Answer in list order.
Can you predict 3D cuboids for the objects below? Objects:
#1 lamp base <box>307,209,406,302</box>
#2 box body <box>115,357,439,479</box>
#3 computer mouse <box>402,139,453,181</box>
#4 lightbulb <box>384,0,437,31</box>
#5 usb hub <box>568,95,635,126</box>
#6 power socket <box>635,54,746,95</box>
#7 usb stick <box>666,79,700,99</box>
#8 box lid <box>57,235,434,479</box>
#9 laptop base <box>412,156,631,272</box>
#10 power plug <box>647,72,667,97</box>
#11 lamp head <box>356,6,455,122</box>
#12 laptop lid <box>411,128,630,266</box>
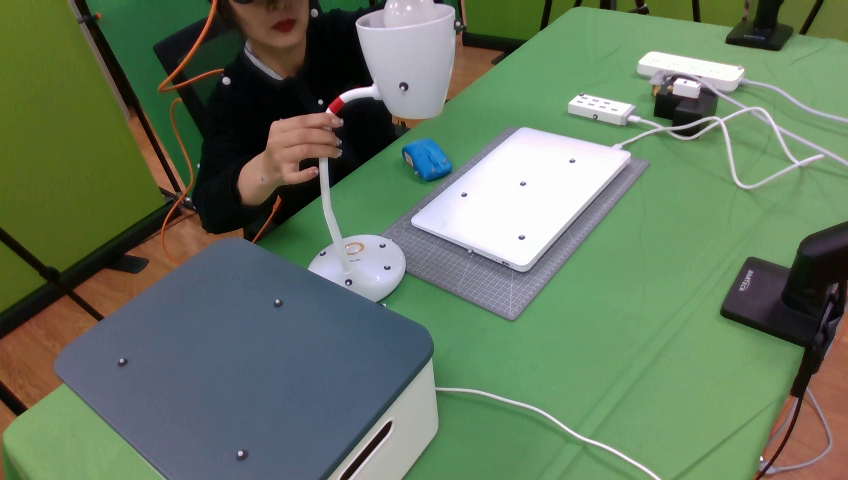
[{"bbox_3d":[-0.116,-0.003,0.889,0.161,0.181,0.178,-15,43,-5],"label":"lamp base"},{"bbox_3d":[-0.189,0.178,0.702,0.361,0.161,0.255,22,49,32],"label":"box body"},{"bbox_3d":[0.005,-0.159,1.166,0.063,0.041,0.116,-21,45,-17],"label":"computer mouse"},{"bbox_3d":[-0.014,-0.228,0.691,0.059,0.108,0.059,-3,25,2],"label":"lightbulb"},{"bbox_3d":[0.360,-0.264,1.228,0.124,0.025,0.049,24,49,34],"label":"usb hub"},{"bbox_3d":[0.564,-0.357,1.293,0.225,0.033,0.072,24,51,33],"label":"power socket"},{"bbox_3d":[0.492,-0.288,1.152,0.058,0.027,0.021,20,50,34],"label":"usb stick"},{"bbox_3d":[-0.198,0.123,0.653,0.368,0.015,0.264,22,49,32],"label":"box lid"},{"bbox_3d":[0.176,-0.084,1.055,0.233,0.023,0.355,21,48,36],"label":"laptop base"},{"bbox_3d":[0.493,-0.321,1.261,0.073,0.052,0.035,1,20,-41],"label":"power plug"},{"bbox_3d":[-0.019,-0.199,0.702,0.112,0.123,0.112,-1,33,1],"label":"lamp head"},{"bbox_3d":[0.172,-0.093,1.049,0.239,0.013,0.358,24,50,36],"label":"laptop lid"}]
